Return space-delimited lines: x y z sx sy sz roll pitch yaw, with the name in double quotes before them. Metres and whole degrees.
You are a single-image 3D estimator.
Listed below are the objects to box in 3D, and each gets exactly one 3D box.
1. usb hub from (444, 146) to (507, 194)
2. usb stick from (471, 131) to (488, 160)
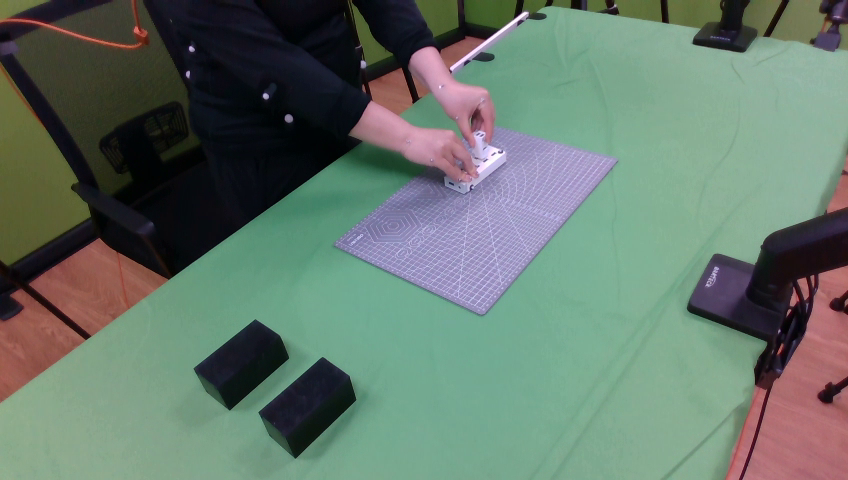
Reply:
"usb hub" 0.095 -0.129 1.102 0.049 0.025 0.125 27 52 33
"usb stick" 0.101 -0.166 1.092 0.027 0.059 0.021 25 48 29
